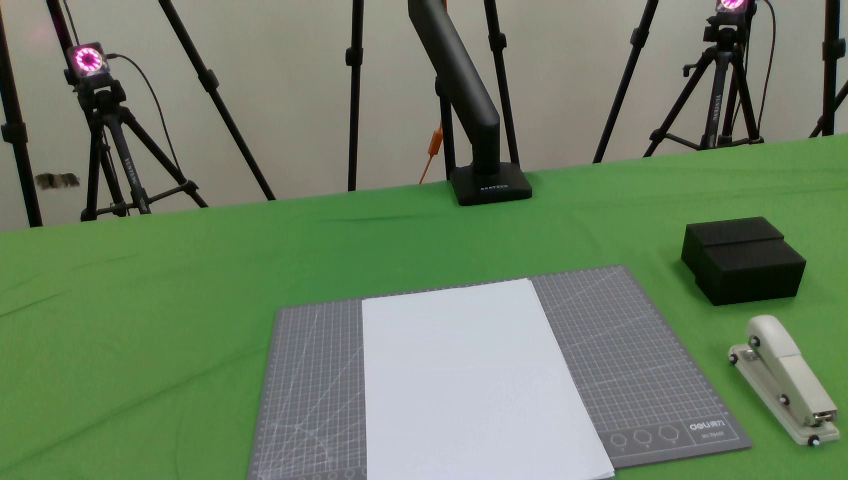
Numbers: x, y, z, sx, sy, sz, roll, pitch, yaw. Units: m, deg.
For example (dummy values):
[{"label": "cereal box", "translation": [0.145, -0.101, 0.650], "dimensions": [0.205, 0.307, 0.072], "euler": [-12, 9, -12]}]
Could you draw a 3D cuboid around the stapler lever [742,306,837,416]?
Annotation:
[{"label": "stapler lever", "translation": [0.341, 0.109, 0.570], "dimensions": [0.027, 0.040, 0.117], "euler": [-9, 34, -3]}]

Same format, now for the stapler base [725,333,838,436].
[{"label": "stapler base", "translation": [0.342, 0.130, 0.586], "dimensions": [0.041, 0.024, 0.129], "euler": [-9, 34, -3]}]
